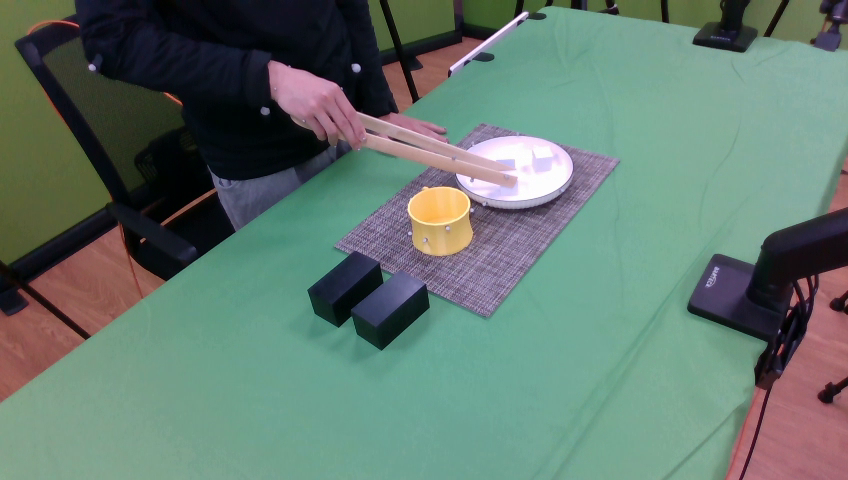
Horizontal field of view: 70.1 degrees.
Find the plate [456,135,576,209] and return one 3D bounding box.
[{"bbox_3d":[0.161,-0.116,1.064,0.207,0.039,0.206,-4,40,4],"label":"plate"}]

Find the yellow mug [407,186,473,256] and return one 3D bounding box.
[{"bbox_3d":[0.021,-0.040,0.973,0.100,0.064,0.129,-19,41,-12],"label":"yellow mug"}]

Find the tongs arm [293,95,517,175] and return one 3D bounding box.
[{"bbox_3d":[-0.027,-0.170,1.002,0.389,0.028,0.028,16,45,-11],"label":"tongs arm"}]

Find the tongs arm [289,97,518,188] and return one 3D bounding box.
[{"bbox_3d":[-0.029,-0.155,0.985,0.387,0.026,0.050,13,43,-14],"label":"tongs arm"}]
